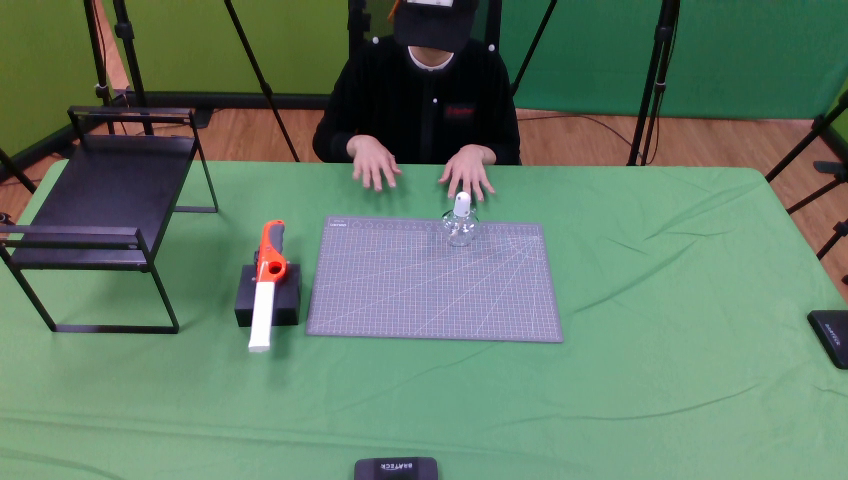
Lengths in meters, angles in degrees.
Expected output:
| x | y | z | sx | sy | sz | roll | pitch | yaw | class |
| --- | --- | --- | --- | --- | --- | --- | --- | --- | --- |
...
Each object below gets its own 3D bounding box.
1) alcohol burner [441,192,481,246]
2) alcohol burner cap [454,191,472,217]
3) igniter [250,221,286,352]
| x | y | z | sx | sy | sz | roll | pitch | yaw | class |
| --- | --- | --- | --- | --- | --- | --- | --- | --- | --- |
| 0.073 | -0.046 | 1.176 | 0.078 | 0.119 | 0.077 | 2 | 44 | -2 | alcohol burner |
| 0.076 | -0.071 | 1.150 | 0.034 | 0.048 | 0.033 | 2 | 42 | -1 | alcohol burner cap |
| -0.269 | 0.068 | 1.041 | 0.057 | 0.025 | 0.274 | 0 | 48 | -7 | igniter |
